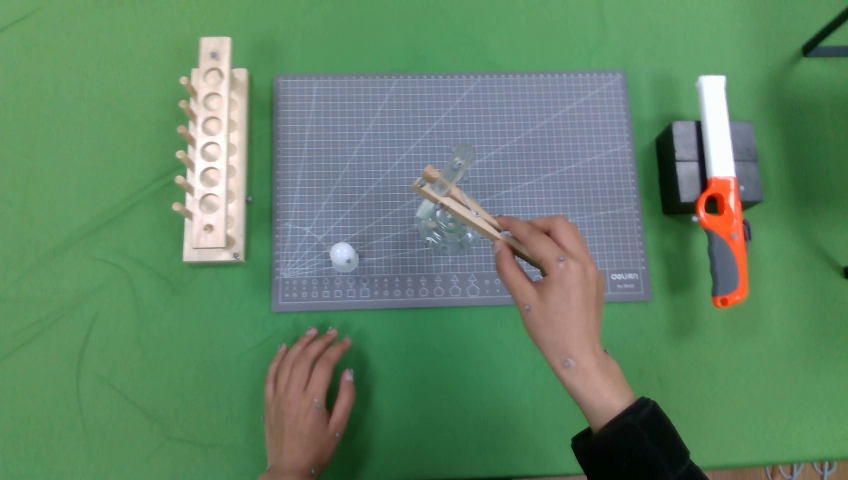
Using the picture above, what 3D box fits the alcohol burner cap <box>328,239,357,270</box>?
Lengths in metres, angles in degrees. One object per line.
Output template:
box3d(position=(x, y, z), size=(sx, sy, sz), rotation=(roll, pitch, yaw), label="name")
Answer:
box3d(position=(-0.095, 0.015, 0.698), size=(0.034, 0.048, 0.033), rotation=(1, 77, -2), label="alcohol burner cap")

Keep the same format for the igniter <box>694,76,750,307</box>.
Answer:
box3d(position=(0.340, -0.060, 0.699), size=(0.057, 0.025, 0.275), rotation=(1, 77, 3), label="igniter")

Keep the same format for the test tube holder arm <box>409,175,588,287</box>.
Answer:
box3d(position=(0.067, -0.006, 0.529), size=(0.179, 0.015, 0.013), rotation=(32, 69, -7), label="test tube holder arm")

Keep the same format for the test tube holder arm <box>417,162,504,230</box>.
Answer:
box3d(position=(0.032, -0.036, 0.526), size=(0.088, 0.015, 0.010), rotation=(39, 68, -4), label="test tube holder arm")

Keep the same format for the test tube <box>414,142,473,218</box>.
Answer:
box3d(position=(0.013, -0.046, 0.517), size=(0.017, 0.150, 0.017), rotation=(4, 74, -12), label="test tube")

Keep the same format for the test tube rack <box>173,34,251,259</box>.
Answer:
box3d(position=(-0.246, -0.104, 0.696), size=(0.067, 0.085, 0.241), rotation=(-1, 78, -2), label="test tube rack")

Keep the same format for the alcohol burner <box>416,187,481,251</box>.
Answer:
box3d(position=(0.030, -0.028, 0.677), size=(0.078, 0.119, 0.077), rotation=(0, 79, -1), label="alcohol burner")
